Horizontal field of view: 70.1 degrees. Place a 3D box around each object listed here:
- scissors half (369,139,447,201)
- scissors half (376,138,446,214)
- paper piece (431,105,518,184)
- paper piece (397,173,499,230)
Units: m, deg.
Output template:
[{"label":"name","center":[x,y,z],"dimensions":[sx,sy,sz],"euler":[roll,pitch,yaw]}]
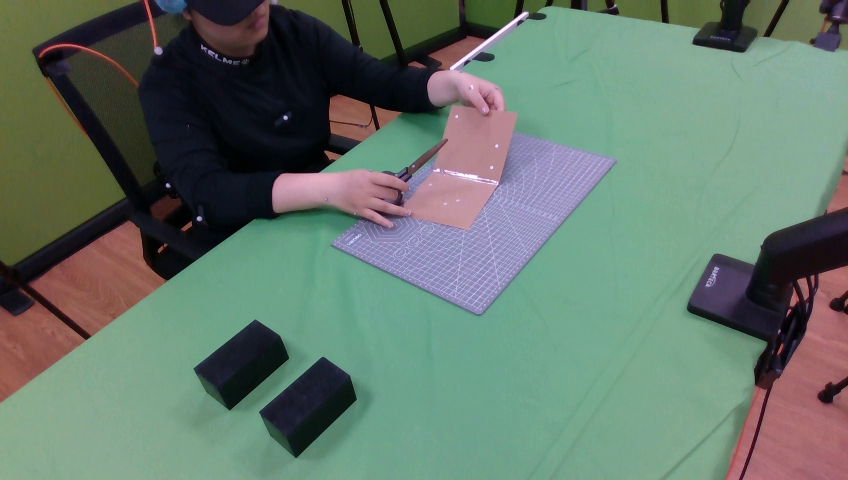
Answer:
[{"label":"scissors half","center":[-0.030,-0.123,1.036],"dimensions":[0.174,0.013,0.040],"euler":[-32,67,25]},{"label":"scissors half","center":[-0.021,-0.108,1.026],"dimensions":[0.175,0.013,0.039],"euler":[-48,56,17]},{"label":"paper piece","center":[0.092,-0.176,1.105],"dimensions":[0.135,0.009,0.138],"euler":[14,85,23]},{"label":"paper piece","center":[0.043,-0.072,1.055],"dimensions":[0.135,0.004,0.135],"euler":[14,45,24]}]
